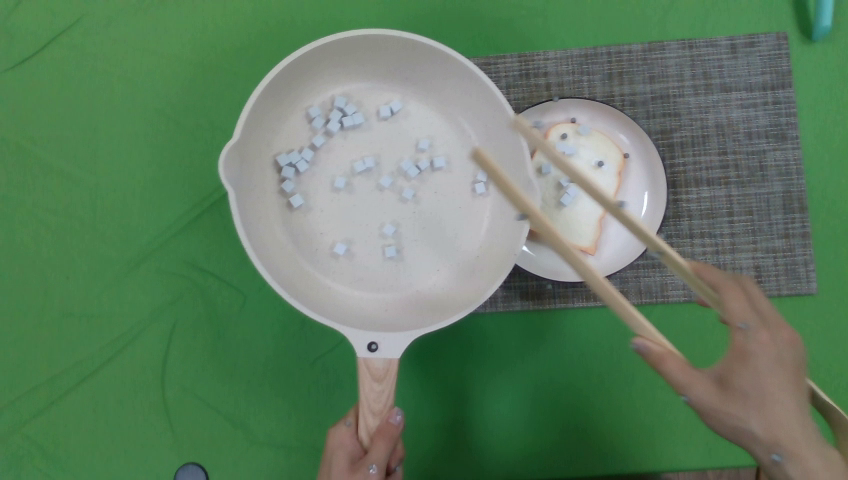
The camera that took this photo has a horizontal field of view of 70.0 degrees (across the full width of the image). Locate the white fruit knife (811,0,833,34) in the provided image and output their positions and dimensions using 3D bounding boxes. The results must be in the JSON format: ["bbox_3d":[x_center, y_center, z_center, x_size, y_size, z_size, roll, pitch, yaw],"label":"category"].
[{"bbox_3d":[0.440,-0.337,0.664,0.016,0.027,0.208,-3,100,2],"label":"white fruit knife"}]

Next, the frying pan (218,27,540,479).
[{"bbox_3d":[-0.043,0.047,0.578,0.308,0.103,0.486,5,79,-13],"label":"frying pan"}]

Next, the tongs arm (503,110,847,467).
[{"bbox_3d":[0.199,0.035,0.489,0.384,0.026,0.050,40,76,5],"label":"tongs arm"}]

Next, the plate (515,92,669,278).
[{"bbox_3d":[0.163,-0.060,0.678,0.207,0.039,0.207,0,86,4],"label":"plate"}]

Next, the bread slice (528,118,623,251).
[{"bbox_3d":[0.160,-0.068,0.681,0.107,0.018,0.134,20,89,4],"label":"bread slice"}]

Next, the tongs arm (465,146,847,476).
[{"bbox_3d":[0.178,0.056,0.483,0.386,0.028,0.028,43,72,5],"label":"tongs arm"}]
